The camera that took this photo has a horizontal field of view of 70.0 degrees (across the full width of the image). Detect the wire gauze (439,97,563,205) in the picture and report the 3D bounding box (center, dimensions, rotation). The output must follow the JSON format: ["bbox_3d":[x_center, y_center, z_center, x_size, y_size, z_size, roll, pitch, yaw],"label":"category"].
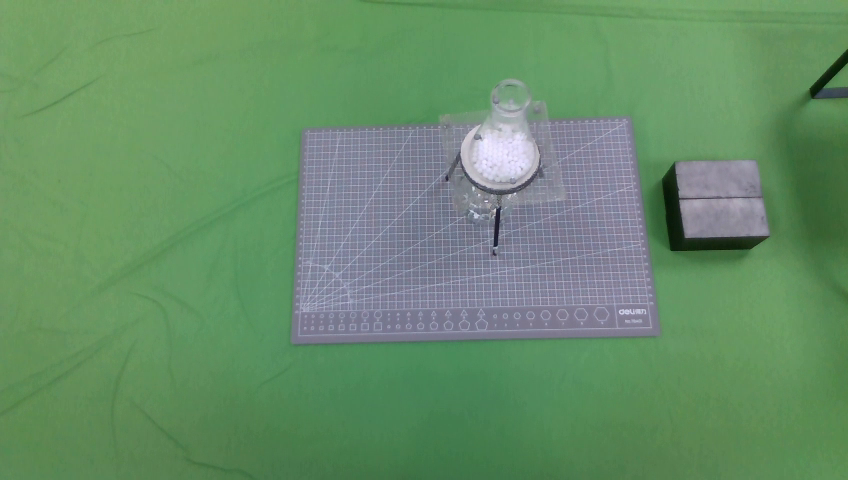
[{"bbox_3d":[0.084,-0.097,0.666,0.125,0.011,0.120,-6,74,-3],"label":"wire gauze"}]

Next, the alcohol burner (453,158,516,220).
[{"bbox_3d":[0.075,-0.069,0.736,0.078,0.120,0.077,0,71,1],"label":"alcohol burner"}]

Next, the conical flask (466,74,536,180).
[{"bbox_3d":[0.082,-0.117,0.609,0.075,0.122,0.075,0,71,2],"label":"conical flask"}]

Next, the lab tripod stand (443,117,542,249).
[{"bbox_3d":[0.088,-0.079,0.729,0.148,0.132,0.147,-1,70,2],"label":"lab tripod stand"}]
